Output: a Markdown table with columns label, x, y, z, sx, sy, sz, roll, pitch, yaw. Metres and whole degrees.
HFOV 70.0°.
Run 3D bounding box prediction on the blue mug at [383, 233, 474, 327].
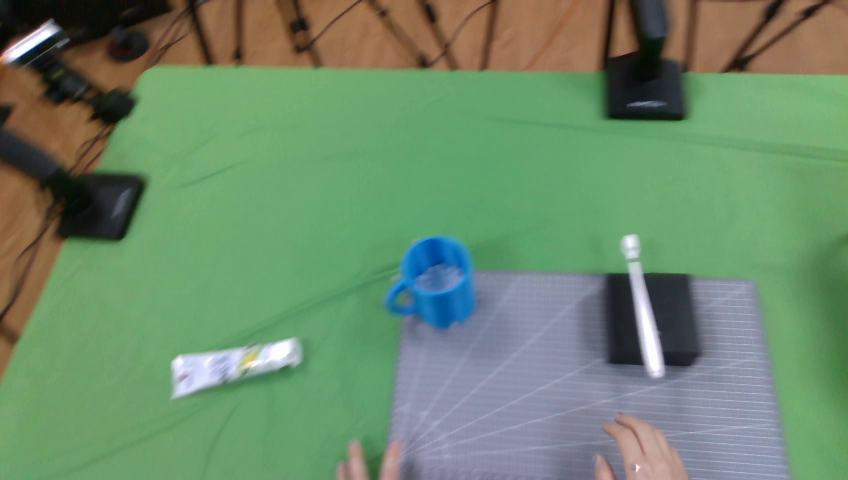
| label | x | y | z | sx | sy | sz | roll | pitch | yaw |
| --- | --- | --- | --- | --- | --- | --- | --- | --- | --- |
| blue mug | 0.004 | 0.059 | 0.761 | 0.116 | 0.107 | 0.081 | -23 | 61 | -5 |

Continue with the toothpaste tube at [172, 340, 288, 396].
| label | x | y | z | sx | sy | sz | roll | pitch | yaw |
| --- | --- | --- | --- | --- | --- | --- | --- | --- | --- |
| toothpaste tube | -0.249 | 0.159 | 0.787 | 0.165 | 0.035 | 0.054 | -13 | 56 | 4 |

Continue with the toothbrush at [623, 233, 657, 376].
| label | x | y | z | sx | sy | sz | roll | pitch | yaw |
| --- | --- | --- | --- | --- | --- | --- | --- | --- | --- |
| toothbrush | 0.256 | 0.071 | 0.717 | 0.014 | 0.017 | 0.180 | 0 | 61 | 2 |

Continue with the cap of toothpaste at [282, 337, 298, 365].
| label | x | y | z | sx | sy | sz | roll | pitch | yaw |
| --- | --- | --- | --- | --- | --- | --- | --- | --- | --- |
| cap of toothpaste | -0.172 | 0.143 | 0.779 | 0.011 | 0.038 | 0.037 | -13 | 60 | 4 |
